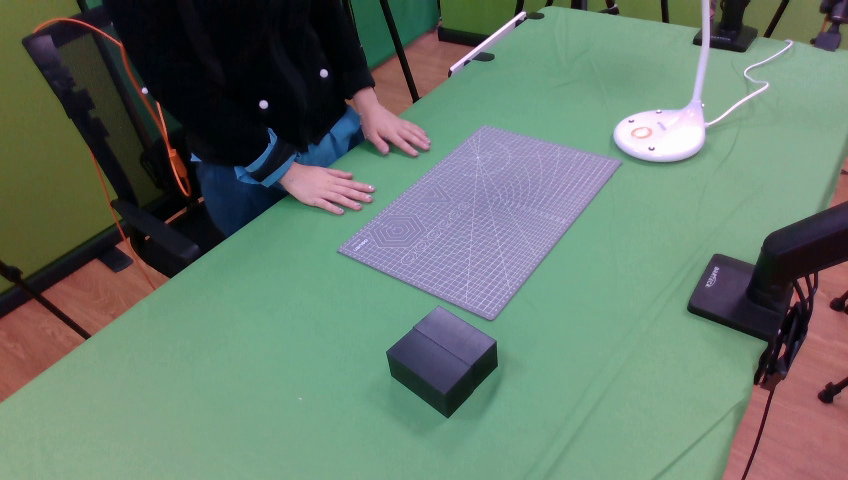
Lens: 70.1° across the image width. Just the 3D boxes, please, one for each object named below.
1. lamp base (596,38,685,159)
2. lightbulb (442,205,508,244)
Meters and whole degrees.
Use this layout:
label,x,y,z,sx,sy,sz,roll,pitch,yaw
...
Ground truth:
label,x,y,z,sx,sy,sz,roll,pitch,yaw
lamp base,0.408,-0.264,1.094,0.180,0.181,0.159,-29,45,-27
lightbulb,0.081,-0.019,0.955,0.107,0.059,0.059,18,44,5
